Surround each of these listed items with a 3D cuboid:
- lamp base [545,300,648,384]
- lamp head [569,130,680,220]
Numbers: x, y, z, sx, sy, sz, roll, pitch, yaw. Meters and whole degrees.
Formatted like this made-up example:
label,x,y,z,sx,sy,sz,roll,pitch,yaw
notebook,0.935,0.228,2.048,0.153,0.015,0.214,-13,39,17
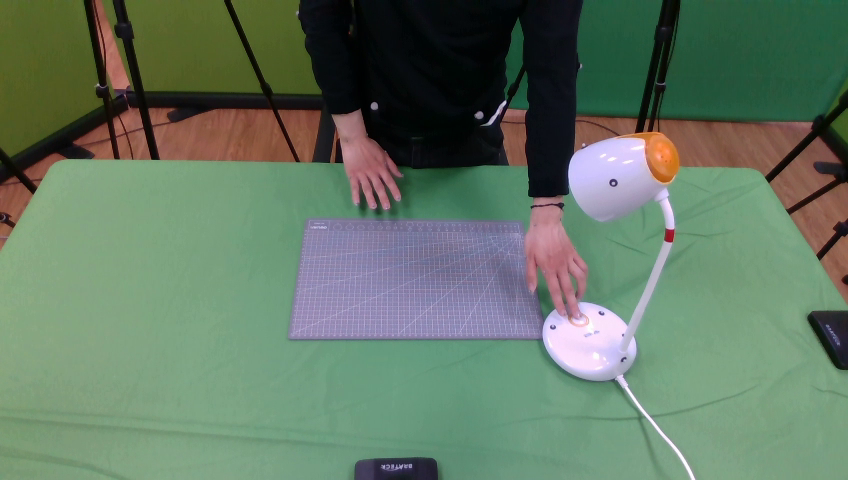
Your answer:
label,x,y,z,sx,sy,sz,roll,pitch,yaw
lamp base,0.299,0.125,0.983,0.161,0.181,0.178,-23,55,-23
lamp head,0.272,-0.089,0.798,0.113,0.122,0.112,7,78,-33
